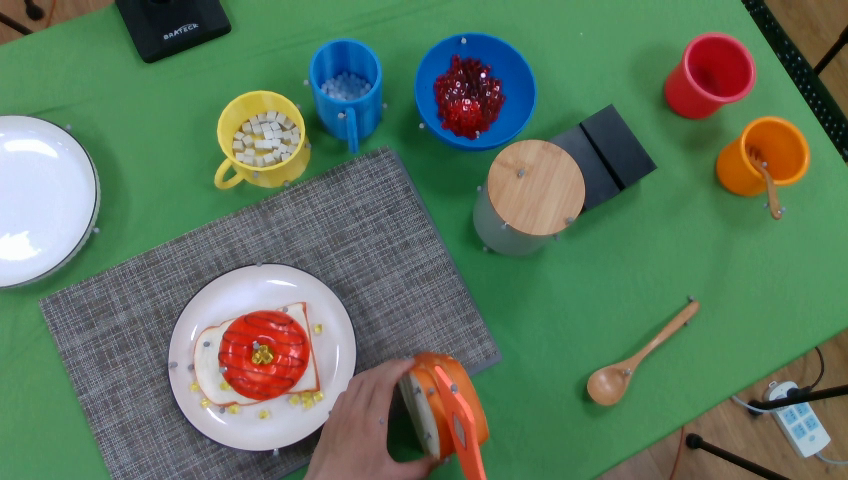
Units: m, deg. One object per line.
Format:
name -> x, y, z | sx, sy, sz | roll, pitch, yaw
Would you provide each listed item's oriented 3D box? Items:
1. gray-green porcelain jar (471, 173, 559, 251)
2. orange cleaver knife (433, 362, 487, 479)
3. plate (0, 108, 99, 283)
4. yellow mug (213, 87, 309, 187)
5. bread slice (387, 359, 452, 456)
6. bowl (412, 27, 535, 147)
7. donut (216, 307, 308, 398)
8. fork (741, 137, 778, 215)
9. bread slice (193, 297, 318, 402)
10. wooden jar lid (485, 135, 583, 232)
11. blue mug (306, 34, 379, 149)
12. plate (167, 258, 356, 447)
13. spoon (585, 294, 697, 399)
gray-green porcelain jar -> 0.113, -0.046, 0.714 | 0.106, 0.127, 0.105 | 1, 77, -5
orange cleaver knife -> 0.045, 0.211, 0.571 | 0.012, 0.076, 0.213 | -23, 112, -18
plate -> -0.483, -0.050, 0.704 | 0.208, 0.039, 0.206 | 1, 78, -5
yellow mug -> -0.204, -0.113, 0.729 | 0.100, 0.064, 0.130 | 41, 79, 5
bread slice -> -0.005, 0.177, 0.653 | 0.018, 0.134, 0.106 | -16, 80, -18
bowl -> 0.057, -0.179, 0.762 | 0.151, 0.077, 0.150 | 1, 78, -5
donut -> -0.176, 0.122, 0.664 | 0.099, 0.048, 0.098 | 2, 78, -9
fork -> 0.410, -0.082, 0.738 | 0.028, 0.019, 0.206 | 36, 33, -3
bread slice -> -0.194, 0.130, 0.693 | 0.132, 0.019, 0.104 | -13, 78, -12
wooden jar lid -> 0.117, -0.060, 0.653 | 0.108, 0.021, 0.108 | 2, 79, -8
blue mug -> -0.094, -0.169, 0.732 | 0.082, 0.106, 0.116 | -6, 78, -6
plate -> -0.181, 0.125, 0.691 | 0.209, 0.038, 0.208 | 1, 78, -5
spoon -> 0.272, 0.128, 0.745 | 0.193, 0.022, 0.041 | -37, 65, -11
